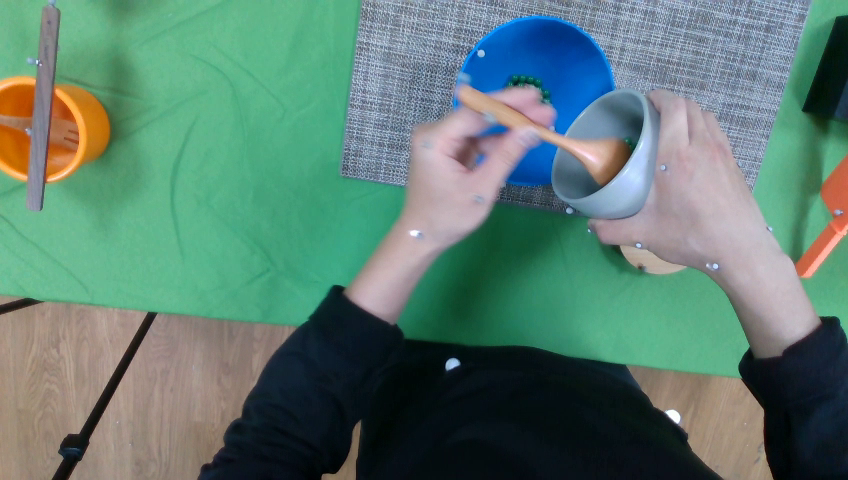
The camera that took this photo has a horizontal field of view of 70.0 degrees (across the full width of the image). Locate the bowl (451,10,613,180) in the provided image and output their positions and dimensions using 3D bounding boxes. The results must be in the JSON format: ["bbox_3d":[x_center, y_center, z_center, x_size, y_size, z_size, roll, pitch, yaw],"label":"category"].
[{"bbox_3d":[0.096,-0.139,0.583,0.151,0.076,0.152,-2,107,-5],"label":"bowl"}]

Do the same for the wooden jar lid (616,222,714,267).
[{"bbox_3d":[0.262,-0.023,0.664,0.108,0.020,0.109,-1,112,-3],"label":"wooden jar lid"}]

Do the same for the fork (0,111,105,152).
[{"bbox_3d":[-0.378,-0.112,0.512,0.028,0.018,0.209,-52,148,17],"label":"fork"}]

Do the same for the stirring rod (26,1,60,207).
[{"bbox_3d":[-0.325,-0.112,0.516,0.014,0.006,0.176,12,106,-12],"label":"stirring rod"}]

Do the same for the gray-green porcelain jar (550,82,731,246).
[{"bbox_3d":[0.191,-0.060,0.528,0.127,0.105,0.106,25,103,-26],"label":"gray-green porcelain jar"}]

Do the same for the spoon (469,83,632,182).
[{"bbox_3d":[0.102,-0.076,0.453,0.195,0.021,0.041,15,102,-36],"label":"spoon"}]

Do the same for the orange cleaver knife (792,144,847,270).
[{"bbox_3d":[0.451,-0.055,0.644,0.012,0.076,0.213,4,136,-9],"label":"orange cleaver knife"}]
